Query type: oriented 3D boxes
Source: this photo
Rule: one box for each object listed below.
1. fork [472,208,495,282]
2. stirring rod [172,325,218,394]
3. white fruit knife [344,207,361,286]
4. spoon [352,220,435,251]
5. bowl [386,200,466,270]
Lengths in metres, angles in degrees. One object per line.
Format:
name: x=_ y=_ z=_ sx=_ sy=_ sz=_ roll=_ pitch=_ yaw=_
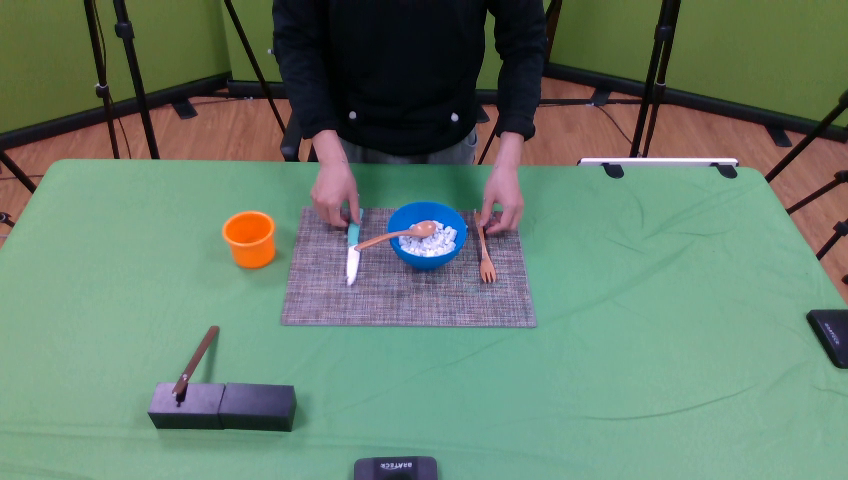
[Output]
fork: x=0.114 y=0.007 z=1.196 sx=0.028 sy=0.019 sz=0.206 roll=-10 pitch=48 yaw=4
stirring rod: x=-0.361 y=0.185 z=0.962 sx=0.014 sy=0.006 sz=0.175 roll=0 pitch=26 yaw=1
white fruit knife: x=-0.142 y=0.009 z=1.175 sx=0.027 sy=0.016 sz=0.206 roll=-3 pitch=46 yaw=2
spoon: x=-0.054 y=-0.009 z=1.109 sx=0.194 sy=0.022 sz=0.041 roll=-14 pitch=41 yaw=-42
bowl: x=0.002 y=0.003 z=1.150 sx=0.151 sy=0.077 sz=0.150 roll=2 pitch=47 yaw=-2
